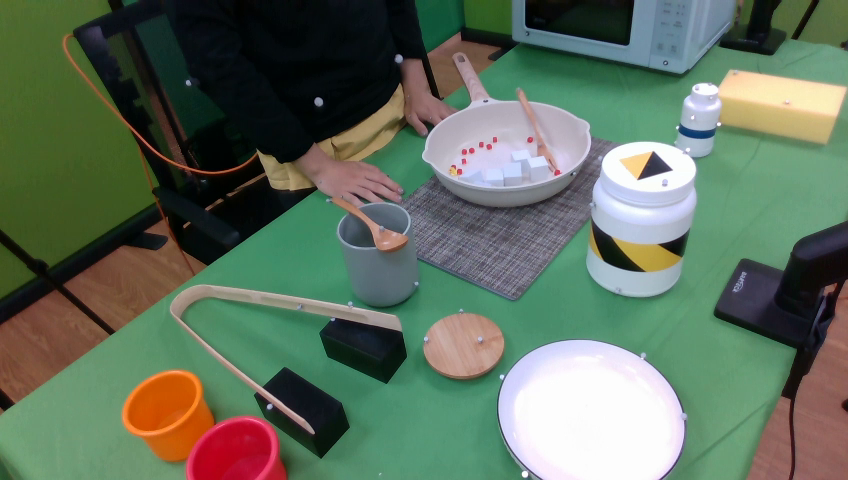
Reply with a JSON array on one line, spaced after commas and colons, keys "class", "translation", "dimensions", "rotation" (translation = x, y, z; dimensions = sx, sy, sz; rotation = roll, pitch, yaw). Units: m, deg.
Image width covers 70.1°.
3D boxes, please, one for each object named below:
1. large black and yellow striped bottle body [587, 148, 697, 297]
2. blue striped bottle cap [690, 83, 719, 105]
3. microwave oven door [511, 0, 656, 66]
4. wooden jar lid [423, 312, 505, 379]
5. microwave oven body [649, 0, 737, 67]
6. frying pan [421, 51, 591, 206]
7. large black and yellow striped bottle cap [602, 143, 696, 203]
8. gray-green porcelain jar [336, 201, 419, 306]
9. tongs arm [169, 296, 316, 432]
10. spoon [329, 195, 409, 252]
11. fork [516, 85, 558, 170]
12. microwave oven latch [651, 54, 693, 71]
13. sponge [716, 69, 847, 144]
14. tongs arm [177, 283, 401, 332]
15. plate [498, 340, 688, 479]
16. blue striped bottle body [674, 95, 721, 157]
[{"class": "large black and yellow striped bottle body", "translation": [0.298, -0.026, 0.835], "dimensions": [0.131, 0.185, 0.130], "rotation": [-4, 41, 4]}, {"class": "blue striped bottle cap", "translation": [0.481, -0.251, 1.038], "dimensions": [0.044, 0.021, 0.044], "rotation": [-5, 40, 5]}, {"class": "microwave oven door", "translation": [0.351, -0.539, 1.349], "dimensions": [0.353, 0.245, 0.039], "rotation": [24, 50, 31]}, {"class": "wooden jar lid", "translation": [0.053, 0.142, 0.800], "dimensions": [0.108, 0.021, 0.108], "rotation": [-4, 39, 4]}, {"class": "microwave oven body", "translation": [0.475, -0.602, 1.411], "dimensions": [0.438, 0.261, 0.327], "rotation": [23, 50, 32]}, {"class": "frying pan", "translation": [0.127, -0.233, 1.154], "dimensions": [0.307, 0.103, 0.484], "rotation": [-11, 49, -5]}, {"class": "large black and yellow striped bottle cap", "translation": [0.289, -0.088, 0.779], "dimensions": [0.115, 0.019, 0.114], "rotation": [-5, 39, 4]}, {"class": "gray-green porcelain jar", "translation": [-0.064, 0.024, 0.872], "dimensions": [0.106, 0.127, 0.105], "rotation": [-4, 41, 4]}, {"class": "tongs arm", "translation": [-0.248, 0.148, 0.775], "dimensions": [0.384, 0.028, 0.028], "rotation": [21, 56, 44]}, {"class": "spoon", "translation": [-0.082, -0.029, 0.828], "dimensions": [0.042, 0.022, 0.192], "rotation": [-32, 43, -20]}, {"class": "fork", "translation": [0.208, -0.213, 1.134], "dimensions": [0.028, 0.019, 0.206], "rotation": [-16, 66, 1]}, {"class": "microwave oven latch", "translation": [0.531, -0.386, 1.301], "dimensions": [0.078, 0.029, 0.030], "rotation": [26, 51, 33]}, {"class": "sponge", "translation": [0.663, -0.256, 1.142], "dimensions": [0.205, 0.061, 0.118], "rotation": [19, 48, 28]}, {"class": "tongs arm", "translation": [-0.199, 0.096, 0.823], "dimensions": [0.382, 0.027, 0.051], "rotation": [7, 44, 34]}, {"class": "plate", "translation": [0.189, 0.206, 0.692], "dimensions": [0.207, 0.039, 0.206], "rotation": [-4, 40, 4]}, {"class": "blue striped bottle body", "translation": [0.486, -0.213, 1.071], "dimensions": [0.063, 0.121, 0.063], "rotation": [-4, 41, 4]}]
